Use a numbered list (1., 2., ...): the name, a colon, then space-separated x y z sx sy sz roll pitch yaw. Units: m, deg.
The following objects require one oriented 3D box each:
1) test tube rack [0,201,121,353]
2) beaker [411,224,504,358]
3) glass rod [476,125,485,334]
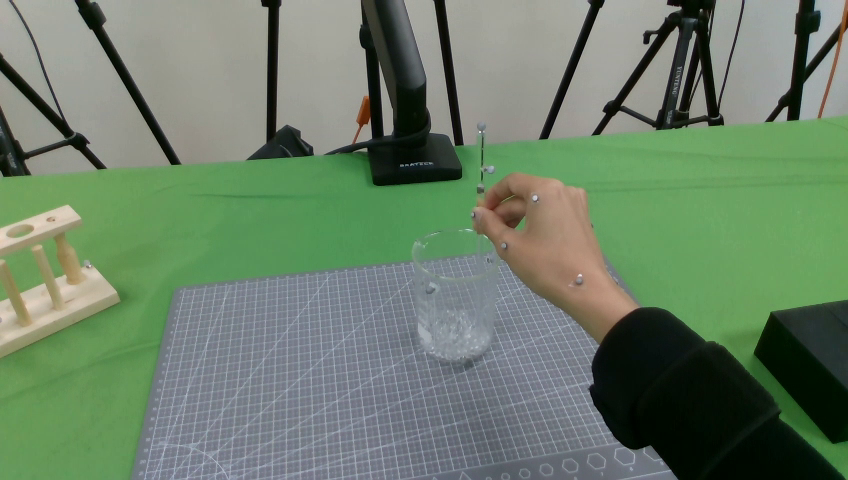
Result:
1. test tube rack: -0.407 0.058 0.522 0.242 0.086 0.066 -30 46 -35
2. beaker: 0.024 0.046 0.527 0.083 0.101 0.074 26 43 32
3. glass rod: 0.047 0.001 0.492 0.008 0.201 0.008 -3 33 2
